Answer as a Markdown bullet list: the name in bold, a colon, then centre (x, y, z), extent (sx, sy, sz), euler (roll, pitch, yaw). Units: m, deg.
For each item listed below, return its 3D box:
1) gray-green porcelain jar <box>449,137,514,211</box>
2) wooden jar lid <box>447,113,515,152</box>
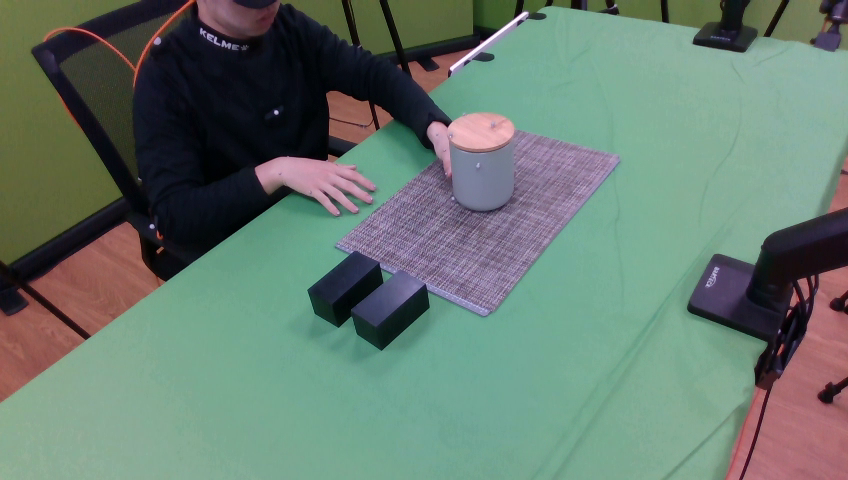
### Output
- **gray-green porcelain jar**: centre (0.098, -0.120, 1.008), extent (0.106, 0.127, 0.105), euler (-4, 41, 4)
- **wooden jar lid**: centre (0.091, -0.169, 0.968), extent (0.108, 0.021, 0.108), euler (-3, 42, 4)
